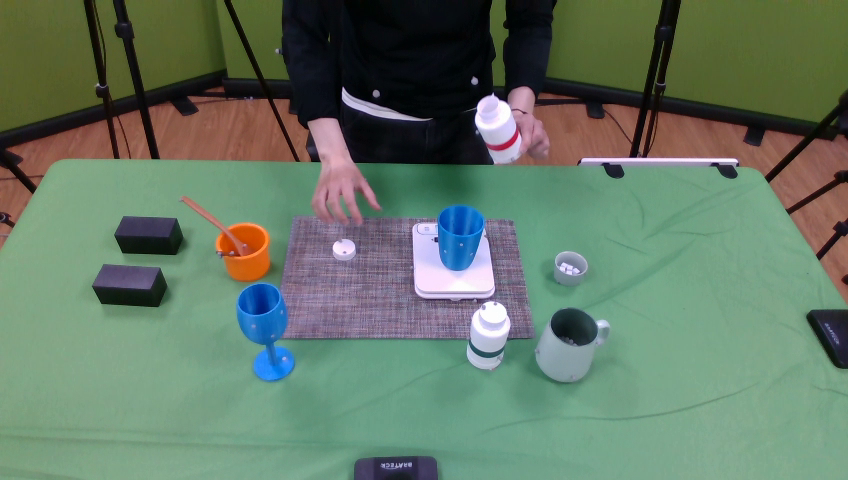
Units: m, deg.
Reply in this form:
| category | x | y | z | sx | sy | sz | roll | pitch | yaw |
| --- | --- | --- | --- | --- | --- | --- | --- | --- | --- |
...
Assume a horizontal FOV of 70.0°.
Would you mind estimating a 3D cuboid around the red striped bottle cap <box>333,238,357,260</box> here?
| category | x | y | z | sx | sy | sz | roll | pitch | yaw |
| --- | --- | --- | --- | --- | --- | --- | --- | --- | --- |
| red striped bottle cap | -0.153 | 0.017 | 1.165 | 0.044 | 0.018 | 0.044 | -7 | 50 | 9 |

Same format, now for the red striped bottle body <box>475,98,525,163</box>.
| category | x | y | z | sx | sy | sz | roll | pitch | yaw |
| --- | --- | --- | --- | --- | --- | --- | --- | --- | --- |
| red striped bottle body | 0.127 | -0.189 | 1.034 | 0.063 | 0.120 | 0.062 | -12 | 57 | 20 |

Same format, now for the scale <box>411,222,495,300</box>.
| category | x | y | z | sx | sy | sz | roll | pitch | yaw |
| --- | --- | --- | --- | --- | --- | --- | --- | --- | --- |
| scale | 0.052 | 0.031 | 1.158 | 0.149 | 0.032 | 0.199 | 1 | 46 | -4 |

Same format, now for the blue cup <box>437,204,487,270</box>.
| category | x | y | z | sx | sy | sz | roll | pitch | yaw |
| --- | --- | --- | --- | --- | --- | --- | --- | --- | --- |
| blue cup | 0.062 | 0.000 | 1.097 | 0.093 | 0.101 | 0.092 | 2 | 44 | -2 |

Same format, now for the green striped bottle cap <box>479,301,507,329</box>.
| category | x | y | z | sx | sy | sz | roll | pitch | yaw |
| --- | --- | --- | --- | --- | --- | --- | --- | --- | --- |
| green striped bottle cap | 0.109 | 0.118 | 0.950 | 0.044 | 0.020 | 0.044 | 2 | 47 | -2 |

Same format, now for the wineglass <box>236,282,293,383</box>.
| category | x | y | z | sx | sy | sz | roll | pitch | yaw |
| --- | --- | --- | --- | --- | --- | --- | --- | --- | --- |
| wineglass | -0.243 | 0.143 | 0.934 | 0.074 | 0.173 | 0.073 | 2 | 46 | -2 |

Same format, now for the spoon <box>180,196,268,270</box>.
| category | x | y | z | sx | sy | sz | roll | pitch | yaw |
| --- | --- | --- | --- | --- | --- | --- | --- | --- | --- |
| spoon | -0.360 | -0.014 | 1.094 | 0.021 | 0.194 | 0.041 | -28 | 26 | 31 |

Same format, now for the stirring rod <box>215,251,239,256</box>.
| category | x | y | z | sx | sy | sz | roll | pitch | yaw |
| --- | --- | --- | --- | --- | --- | --- | --- | --- | --- |
| stirring rod | -0.339 | 0.024 | 1.059 | 0.014 | 0.176 | 0.006 | 16 | 86 | -6 |

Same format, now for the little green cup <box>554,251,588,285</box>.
| category | x | y | z | sx | sy | sz | roll | pitch | yaw |
| --- | --- | --- | --- | --- | --- | --- | --- | --- | --- |
| little green cup | 0.276 | 0.055 | 1.151 | 0.061 | 0.039 | 0.061 | 1 | 46 | -1 |

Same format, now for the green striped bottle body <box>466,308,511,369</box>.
| category | x | y | z | sx | sy | sz | roll | pitch | yaw |
| --- | --- | --- | --- | --- | --- | --- | --- | --- | --- |
| green striped bottle body | 0.106 | 0.154 | 0.988 | 0.063 | 0.120 | 0.063 | 2 | 46 | -2 |

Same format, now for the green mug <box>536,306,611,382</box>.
| category | x | y | z | sx | sy | sz | roll | pitch | yaw |
| --- | --- | --- | --- | --- | --- | --- | --- | --- | --- |
| green mug | 0.250 | 0.167 | 0.996 | 0.125 | 0.105 | 0.092 | -15 | 48 | -19 |
